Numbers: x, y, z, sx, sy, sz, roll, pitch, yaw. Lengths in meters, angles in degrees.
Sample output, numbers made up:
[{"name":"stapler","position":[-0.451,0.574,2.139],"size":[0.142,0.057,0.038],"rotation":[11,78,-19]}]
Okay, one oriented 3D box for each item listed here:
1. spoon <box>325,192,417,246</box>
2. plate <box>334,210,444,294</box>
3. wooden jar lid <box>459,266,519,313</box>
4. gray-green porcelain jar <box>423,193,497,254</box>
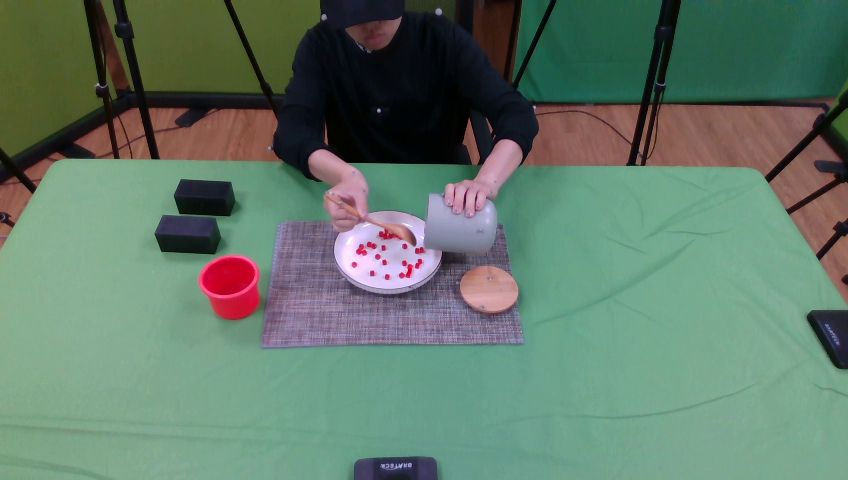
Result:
[{"name":"spoon","position":[-0.091,-0.037,1.077],"size":[0.194,0.022,0.041],"rotation":[24,34,-21]},{"name":"plate","position":[-0.066,0.026,1.150],"size":[0.208,0.039,0.206],"rotation":[2,46,-2]},{"name":"wooden jar lid","position":[0.118,0.093,1.111],"size":[0.108,0.021,0.107],"rotation":[1,47,-1]},{"name":"gray-green porcelain jar","position":[0.065,-0.029,1.106],"size":[0.126,0.106,0.105],"rotation":[5,46,-2]}]
